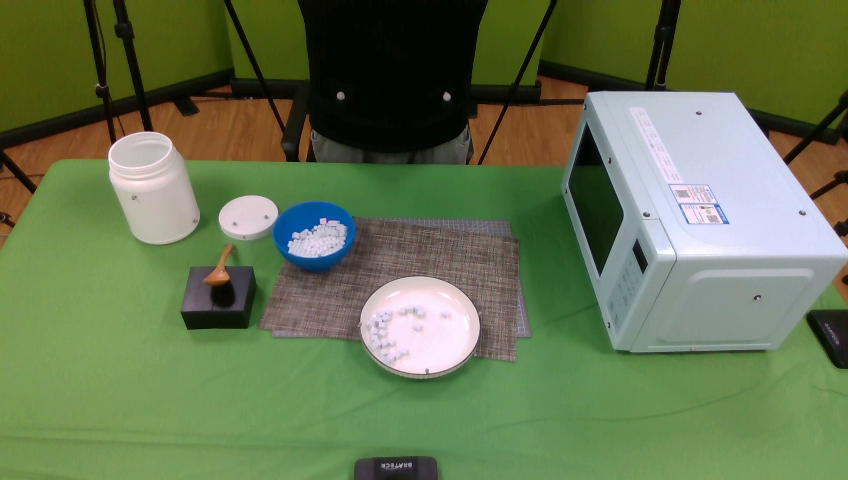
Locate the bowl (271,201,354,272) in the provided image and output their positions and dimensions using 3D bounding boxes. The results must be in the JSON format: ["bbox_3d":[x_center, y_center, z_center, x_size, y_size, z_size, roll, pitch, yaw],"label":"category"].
[{"bbox_3d":[-0.205,0.006,1.135,0.151,0.077,0.150,3,46,-3],"label":"bowl"}]

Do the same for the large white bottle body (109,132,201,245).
[{"bbox_3d":[-0.506,-0.097,1.141,0.131,0.185,0.130,2,46,-2],"label":"large white bottle body"}]

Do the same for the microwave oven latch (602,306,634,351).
[{"bbox_3d":[0.332,0.153,1.044,0.030,0.029,0.078,-1,45,-4],"label":"microwave oven latch"}]

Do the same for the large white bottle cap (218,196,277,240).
[{"bbox_3d":[-0.354,-0.045,1.220,0.115,0.018,0.114,1,45,-1],"label":"large white bottle cap"}]

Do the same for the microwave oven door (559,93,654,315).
[{"bbox_3d":[0.327,-0.074,1.123,0.039,0.245,0.353,0,46,-5],"label":"microwave oven door"}]

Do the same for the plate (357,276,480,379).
[{"bbox_3d":[-0.009,0.151,1.038,0.209,0.038,0.208,2,47,-2],"label":"plate"}]

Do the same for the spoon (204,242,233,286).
[{"bbox_3d":[-0.360,0.039,1.087,0.041,0.022,0.192,-6,24,-7],"label":"spoon"}]

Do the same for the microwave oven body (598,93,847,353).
[{"bbox_3d":[0.476,-0.041,1.110,0.326,0.261,0.438,-1,45,-4],"label":"microwave oven body"}]
